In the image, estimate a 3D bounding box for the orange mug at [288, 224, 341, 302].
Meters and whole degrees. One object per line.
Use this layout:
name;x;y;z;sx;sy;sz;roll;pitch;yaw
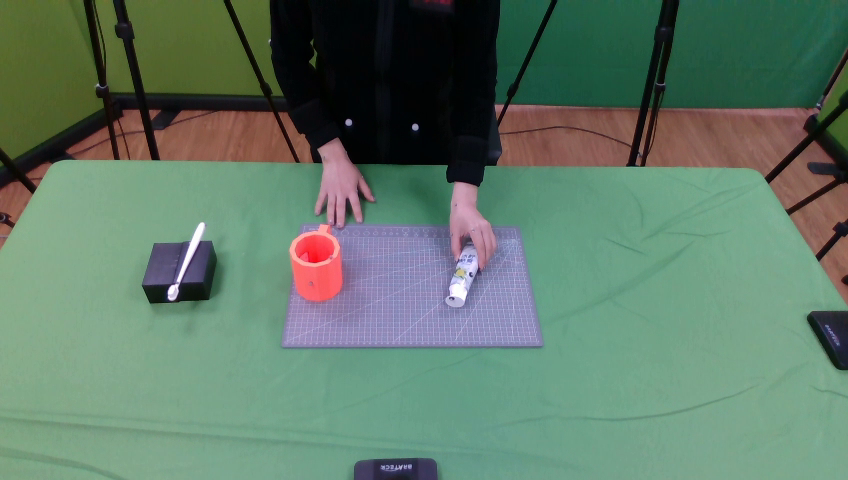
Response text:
orange mug;-0.192;0.034;1.094;0.083;0.101;0.125;7;50;2

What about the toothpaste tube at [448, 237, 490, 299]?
toothpaste tube;0.080;0.051;1.139;0.055;0.035;0.164;7;47;17

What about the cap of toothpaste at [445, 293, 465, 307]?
cap of toothpaste;0.055;0.107;1.086;0.037;0.037;0.011;7;50;2

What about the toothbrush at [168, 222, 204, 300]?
toothbrush;-0.419;0.032;1.070;0.014;0.017;0.180;2;46;2
